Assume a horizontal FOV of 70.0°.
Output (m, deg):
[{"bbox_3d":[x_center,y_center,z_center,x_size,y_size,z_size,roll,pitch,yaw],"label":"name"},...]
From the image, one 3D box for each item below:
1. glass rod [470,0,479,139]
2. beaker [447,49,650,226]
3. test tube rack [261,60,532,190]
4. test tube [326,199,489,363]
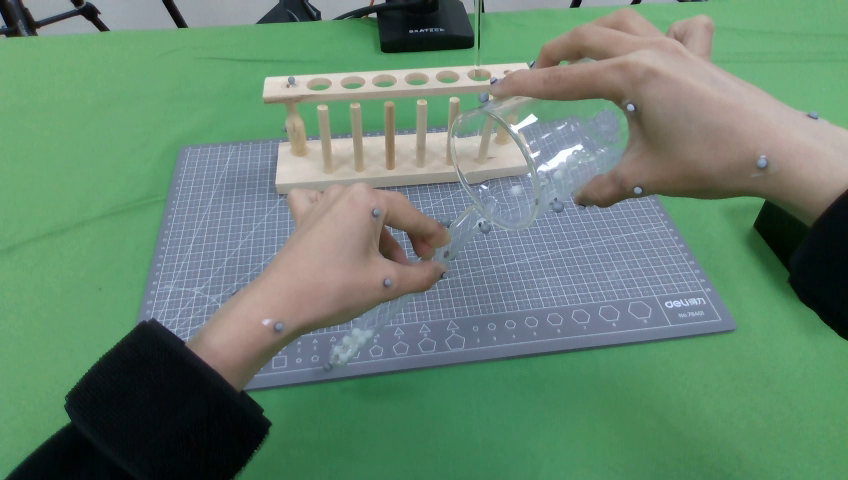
[{"bbox_3d":[0.046,-0.181,0.547,0.008,0.201,0.008,-1,39,1],"label":"glass rod"},{"bbox_3d":[0.075,-0.061,0.356,0.100,0.084,0.073,-30,68,-23],"label":"beaker"},{"bbox_3d":[-0.022,-0.108,0.568,0.243,0.086,0.066,-5,46,-5],"label":"test tube rack"},{"bbox_3d":[-0.014,0.030,0.393,0.150,0.017,0.017,-46,47,18],"label":"test tube"}]
